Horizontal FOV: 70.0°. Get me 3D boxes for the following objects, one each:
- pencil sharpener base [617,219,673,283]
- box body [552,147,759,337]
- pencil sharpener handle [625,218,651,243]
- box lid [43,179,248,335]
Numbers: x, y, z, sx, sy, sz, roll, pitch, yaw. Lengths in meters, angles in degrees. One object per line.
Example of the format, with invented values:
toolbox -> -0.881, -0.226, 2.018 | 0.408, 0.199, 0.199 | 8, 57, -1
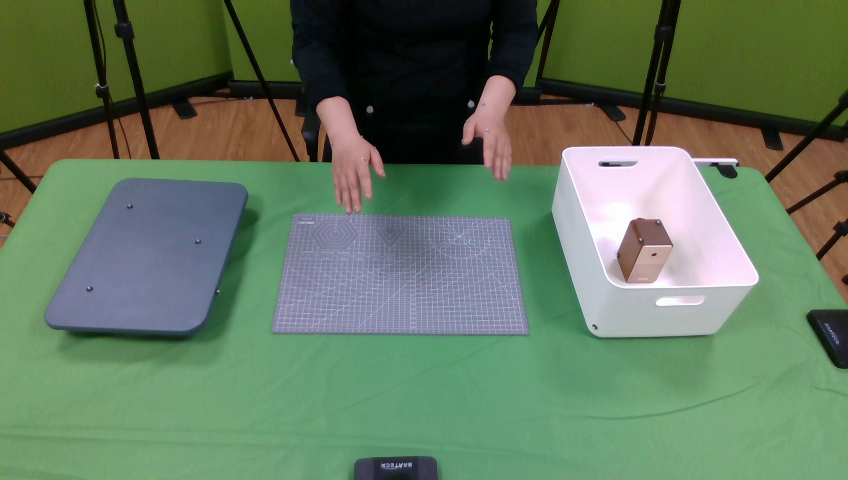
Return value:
pencil sharpener base -> 0.412, 0.020, 1.140 | 0.061, 0.107, 0.076 | -1, 45, -4
box body -> 0.400, -0.001, 1.131 | 0.254, 0.161, 0.361 | -1, 46, -5
pencil sharpener handle -> 0.407, -0.025, 1.167 | 0.036, 0.068, 0.030 | 6, 44, -11
box lid -> -0.484, 0.017, 1.093 | 0.263, 0.015, 0.369 | 2, 46, -2
